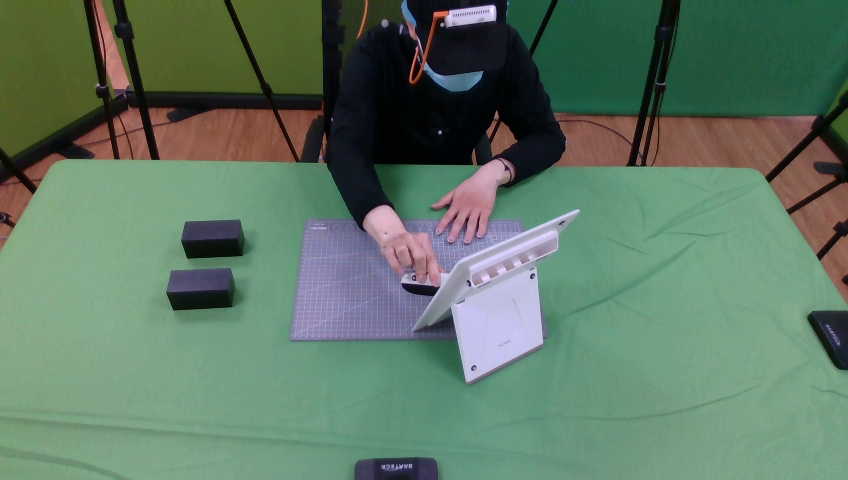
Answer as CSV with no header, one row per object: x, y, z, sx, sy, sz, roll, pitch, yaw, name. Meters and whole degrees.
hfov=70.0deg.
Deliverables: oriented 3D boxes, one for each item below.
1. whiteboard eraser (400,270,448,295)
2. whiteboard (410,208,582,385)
0.021,0.072,1.009,0.112,0.056,0.042,1,82,28,whiteboard eraser
0.132,0.109,0.945,0.217,0.306,0.143,-21,72,-22,whiteboard
